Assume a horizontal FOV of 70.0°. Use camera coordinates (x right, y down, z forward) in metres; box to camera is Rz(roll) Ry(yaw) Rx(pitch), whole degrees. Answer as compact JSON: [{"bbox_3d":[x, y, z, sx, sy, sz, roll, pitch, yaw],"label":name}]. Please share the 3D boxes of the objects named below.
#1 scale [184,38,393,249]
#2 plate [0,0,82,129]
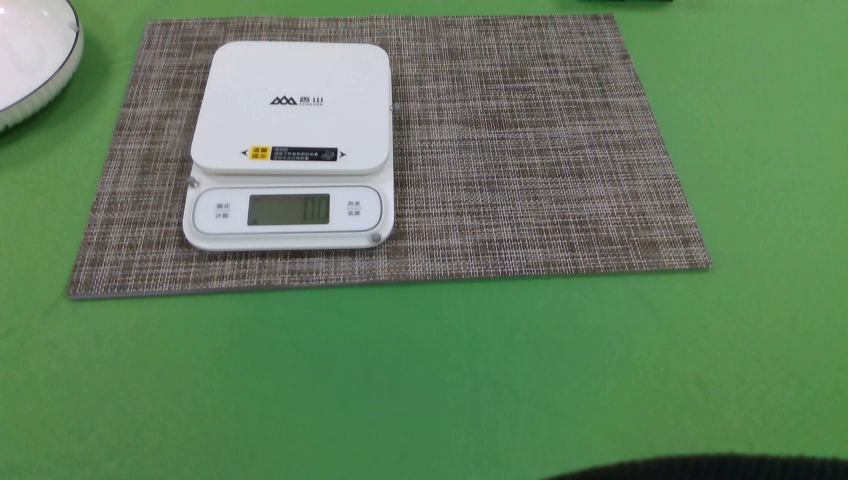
[{"bbox_3d":[-0.100,-0.083,0.473,0.149,0.032,0.199,-1,56,-3],"label":"scale"},{"bbox_3d":[-0.391,-0.148,0.504,0.208,0.039,0.205,2,56,-2],"label":"plate"}]
